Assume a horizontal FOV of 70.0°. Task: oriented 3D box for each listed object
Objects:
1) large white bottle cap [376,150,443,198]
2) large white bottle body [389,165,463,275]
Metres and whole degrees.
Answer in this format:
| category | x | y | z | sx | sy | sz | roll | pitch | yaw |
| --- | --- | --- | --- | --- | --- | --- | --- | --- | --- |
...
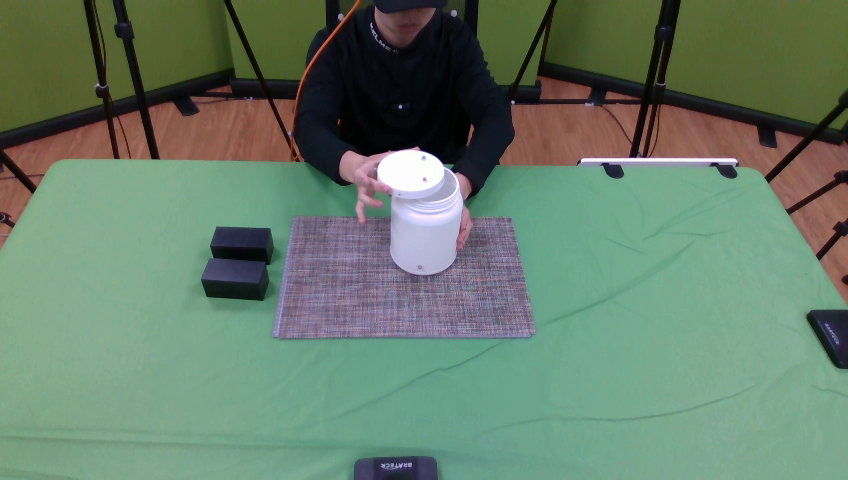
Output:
| category | x | y | z | sx | sy | sz | roll | pitch | yaw |
| --- | --- | --- | --- | --- | --- | --- | --- | --- | --- |
| large white bottle cap | -0.024 | -0.113 | 1.029 | 0.115 | 0.018 | 0.114 | 1 | 45 | -1 |
| large white bottle body | 0.003 | -0.039 | 1.117 | 0.131 | 0.185 | 0.130 | 3 | 47 | -3 |
